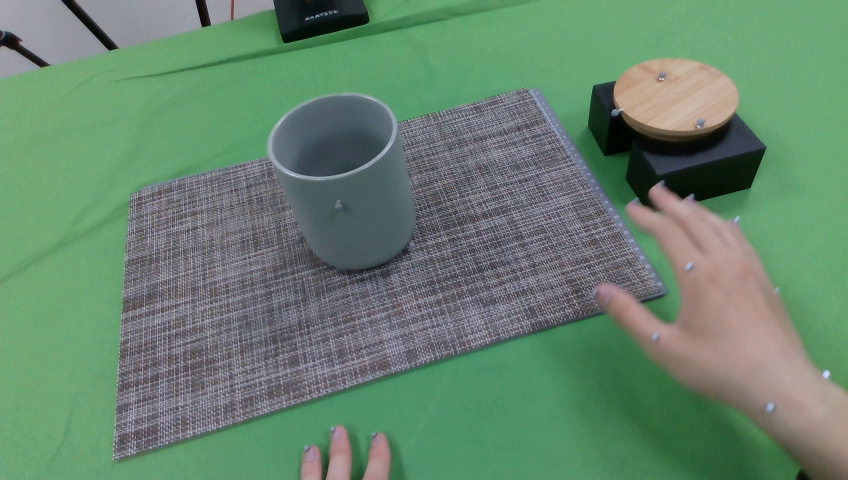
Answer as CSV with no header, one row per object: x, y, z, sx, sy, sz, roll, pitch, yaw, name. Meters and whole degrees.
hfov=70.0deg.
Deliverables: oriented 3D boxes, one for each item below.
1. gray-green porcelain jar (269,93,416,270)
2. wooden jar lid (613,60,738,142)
-0.064,-0.044,0.525,0.106,0.128,0.105,-4,50,5,gray-green porcelain jar
0.230,-0.128,0.560,0.108,0.021,0.107,-4,52,5,wooden jar lid
